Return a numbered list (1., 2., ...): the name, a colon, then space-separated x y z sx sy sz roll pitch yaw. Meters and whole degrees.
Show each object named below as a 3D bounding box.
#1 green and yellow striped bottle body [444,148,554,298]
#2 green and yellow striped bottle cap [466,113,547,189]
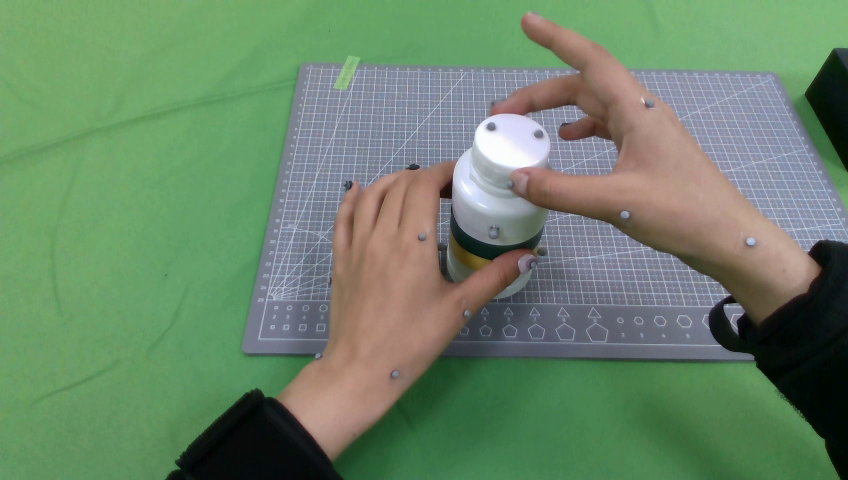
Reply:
1. green and yellow striped bottle body: 0.046 -0.018 0.391 0.063 0.120 0.062 1 55 -1
2. green and yellow striped bottle cap: 0.047 -0.051 0.344 0.045 0.020 0.045 3 54 -4
